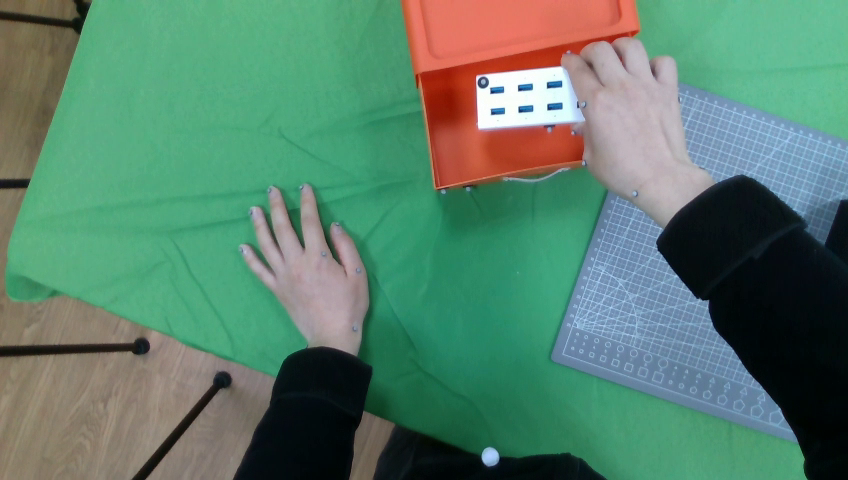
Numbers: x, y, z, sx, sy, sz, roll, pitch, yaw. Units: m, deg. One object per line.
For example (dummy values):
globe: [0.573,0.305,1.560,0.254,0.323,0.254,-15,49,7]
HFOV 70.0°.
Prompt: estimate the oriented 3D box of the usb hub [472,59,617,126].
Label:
usb hub: [0.105,-0.129,0.534,0.125,0.025,0.049,0,97,15]

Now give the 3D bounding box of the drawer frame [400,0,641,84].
drawer frame: [0.070,-0.267,0.546,0.202,0.082,0.213,-11,93,1]

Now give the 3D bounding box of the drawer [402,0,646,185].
drawer: [0.085,-0.165,0.558,0.194,0.073,0.212,-9,93,0]
